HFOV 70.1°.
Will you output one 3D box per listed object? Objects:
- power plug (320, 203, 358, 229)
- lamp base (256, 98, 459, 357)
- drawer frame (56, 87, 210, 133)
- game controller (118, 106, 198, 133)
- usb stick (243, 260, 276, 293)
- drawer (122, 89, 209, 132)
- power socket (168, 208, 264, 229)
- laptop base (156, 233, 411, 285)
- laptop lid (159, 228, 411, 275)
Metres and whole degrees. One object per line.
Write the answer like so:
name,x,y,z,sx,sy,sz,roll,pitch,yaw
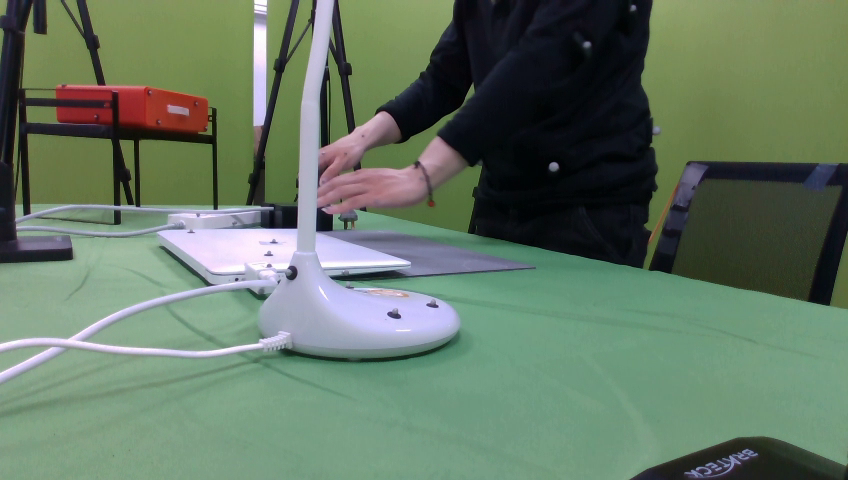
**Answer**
power plug,-0.169,-0.047,1.210,0.072,0.052,0.035,-4,-11,-2
lamp base,-0.055,-0.013,0.463,0.160,0.180,0.180,6,11,27
drawer frame,-0.598,-0.269,1.261,0.213,0.082,0.202,4,8,14
game controller,-0.555,-0.252,1.255,0.097,0.051,0.155,8,12,18
usb stick,-0.166,0.035,0.603,0.021,0.027,0.059,-8,8,-29
drawer,-0.595,-0.268,1.263,0.211,0.073,0.195,4,8,15
power socket,-0.381,-0.038,1.128,0.072,0.032,0.227,4,8,16
laptop base,-0.204,0.019,0.807,0.237,0.023,0.352,0,7,-33
laptop lid,-0.201,0.007,0.806,0.243,0.013,0.355,-1,8,-31
